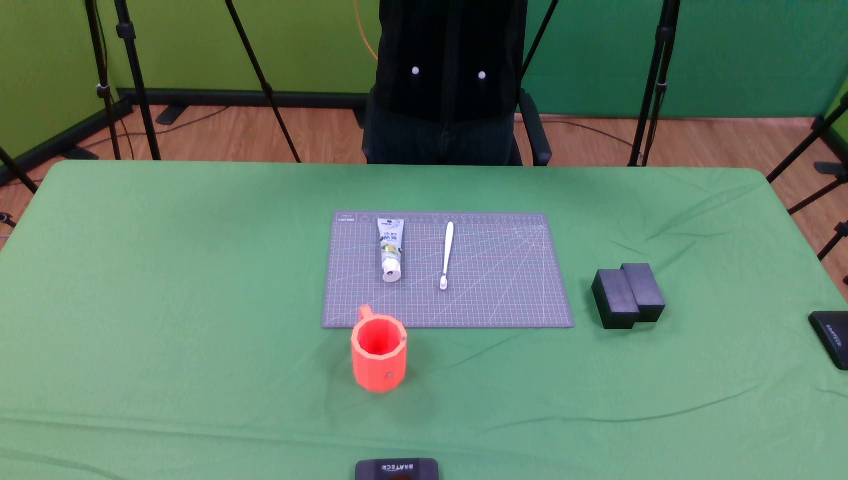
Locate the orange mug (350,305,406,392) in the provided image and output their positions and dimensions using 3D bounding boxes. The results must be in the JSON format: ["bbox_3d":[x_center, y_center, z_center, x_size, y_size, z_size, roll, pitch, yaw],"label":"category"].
[{"bbox_3d":[-0.080,0.168,0.978,0.083,0.101,0.125,-16,54,-18],"label":"orange mug"}]

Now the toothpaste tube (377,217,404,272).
[{"bbox_3d":[-0.063,0.008,1.179,0.055,0.034,0.164,5,42,-9],"label":"toothpaste tube"}]

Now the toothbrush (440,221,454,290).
[{"bbox_3d":[0.045,0.024,1.177,0.014,0.017,0.181,-4,43,13],"label":"toothbrush"}]

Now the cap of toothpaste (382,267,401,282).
[{"bbox_3d":[-0.060,0.063,1.118,0.037,0.037,0.011,-9,50,-12],"label":"cap of toothpaste"}]
